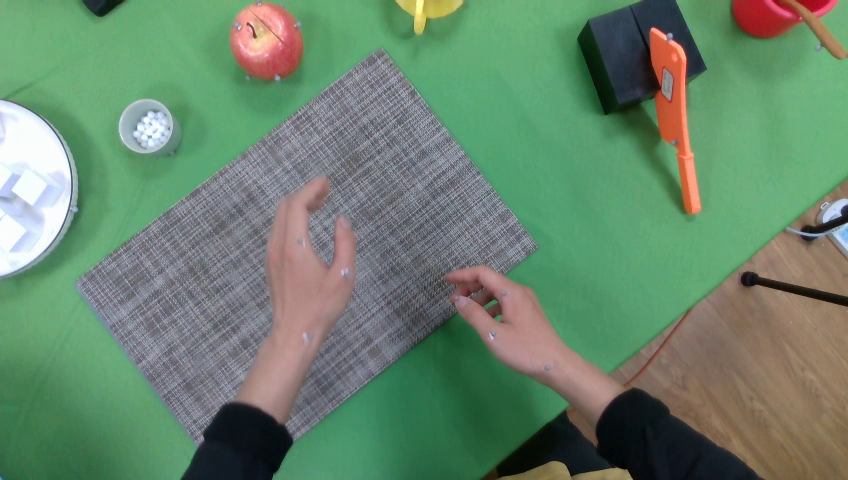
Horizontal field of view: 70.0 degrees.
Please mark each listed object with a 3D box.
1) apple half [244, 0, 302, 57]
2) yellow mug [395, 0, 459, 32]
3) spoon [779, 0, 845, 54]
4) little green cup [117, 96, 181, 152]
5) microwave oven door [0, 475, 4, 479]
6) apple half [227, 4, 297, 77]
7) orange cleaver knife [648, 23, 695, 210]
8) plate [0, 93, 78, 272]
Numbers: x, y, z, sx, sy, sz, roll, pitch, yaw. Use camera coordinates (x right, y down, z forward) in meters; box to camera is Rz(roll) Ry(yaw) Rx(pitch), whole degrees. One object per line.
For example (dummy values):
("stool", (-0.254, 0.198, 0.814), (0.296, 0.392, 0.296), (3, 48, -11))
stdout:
("apple half", (-0.162, -0.245, 0.684), (0.081, 0.081, 0.033), (43, 92, 2))
("yellow mug", (0.001, -0.304, 0.692), (0.100, 0.064, 0.130), (10, 88, 0))
("spoon", (0.400, -0.253, 0.655), (0.041, 0.022, 0.191), (-4, 43, 1))
("little green cup", (-0.313, -0.131, 0.696), (0.061, 0.038, 0.061), (0, 87, 0))
("microwave oven door", (-0.430, 0.340, 0.555), (0.039, 0.244, 0.355), (-36, 88, -2))
("apple half", (-0.189, -0.216, 0.684), (0.081, 0.074, 0.053), (43, 92, -2))
("orange cleaver knife", (0.277, -0.135, 0.680), (0.012, 0.076, 0.213), (-18, 118, 2))
("plate", (-0.496, -0.063, 0.692), (0.208, 0.039, 0.207), (0, 87, 0))
